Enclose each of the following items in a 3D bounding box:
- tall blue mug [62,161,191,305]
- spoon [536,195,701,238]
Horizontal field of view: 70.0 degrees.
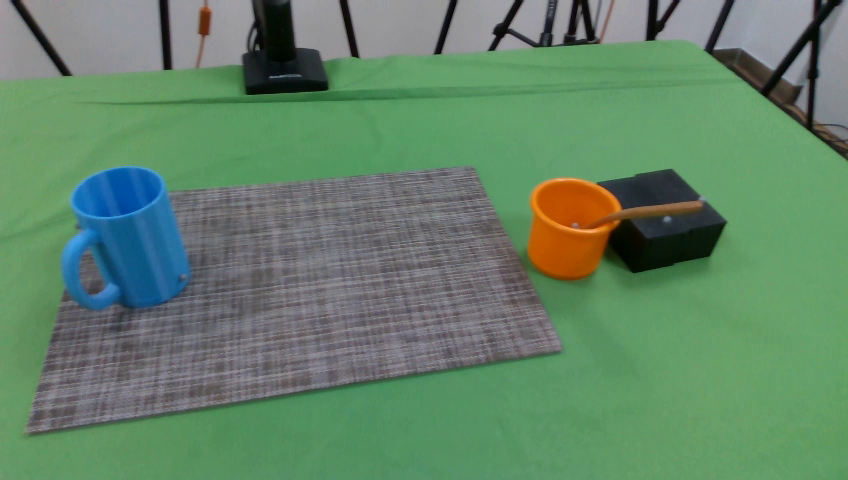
[{"bbox_3d":[-0.264,0.003,0.547,0.078,0.109,0.106,0,42,-6],"label":"tall blue mug"},{"bbox_3d":[0.181,-0.023,0.591,0.042,0.193,0.021,-23,92,-31],"label":"spoon"}]
